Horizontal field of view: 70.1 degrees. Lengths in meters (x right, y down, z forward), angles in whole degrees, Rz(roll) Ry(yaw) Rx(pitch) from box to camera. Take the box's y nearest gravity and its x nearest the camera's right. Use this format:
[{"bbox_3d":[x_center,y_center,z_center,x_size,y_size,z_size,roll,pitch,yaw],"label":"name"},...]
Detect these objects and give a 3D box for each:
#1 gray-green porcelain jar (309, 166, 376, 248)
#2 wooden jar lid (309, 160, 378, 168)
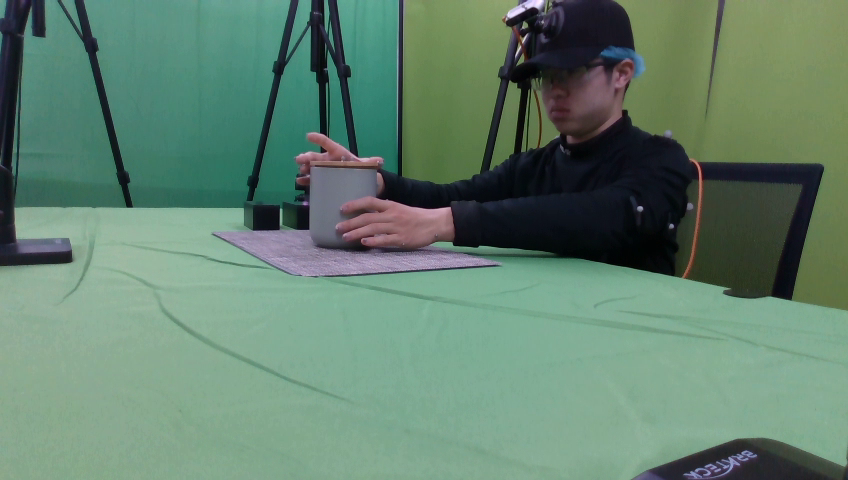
[{"bbox_3d":[-0.130,-0.054,0.966,0.106,0.126,0.106,2,7,0],"label":"gray-green porcelain jar"},{"bbox_3d":[-0.127,-0.117,0.957,0.108,0.020,0.108,1,7,0],"label":"wooden jar lid"}]
